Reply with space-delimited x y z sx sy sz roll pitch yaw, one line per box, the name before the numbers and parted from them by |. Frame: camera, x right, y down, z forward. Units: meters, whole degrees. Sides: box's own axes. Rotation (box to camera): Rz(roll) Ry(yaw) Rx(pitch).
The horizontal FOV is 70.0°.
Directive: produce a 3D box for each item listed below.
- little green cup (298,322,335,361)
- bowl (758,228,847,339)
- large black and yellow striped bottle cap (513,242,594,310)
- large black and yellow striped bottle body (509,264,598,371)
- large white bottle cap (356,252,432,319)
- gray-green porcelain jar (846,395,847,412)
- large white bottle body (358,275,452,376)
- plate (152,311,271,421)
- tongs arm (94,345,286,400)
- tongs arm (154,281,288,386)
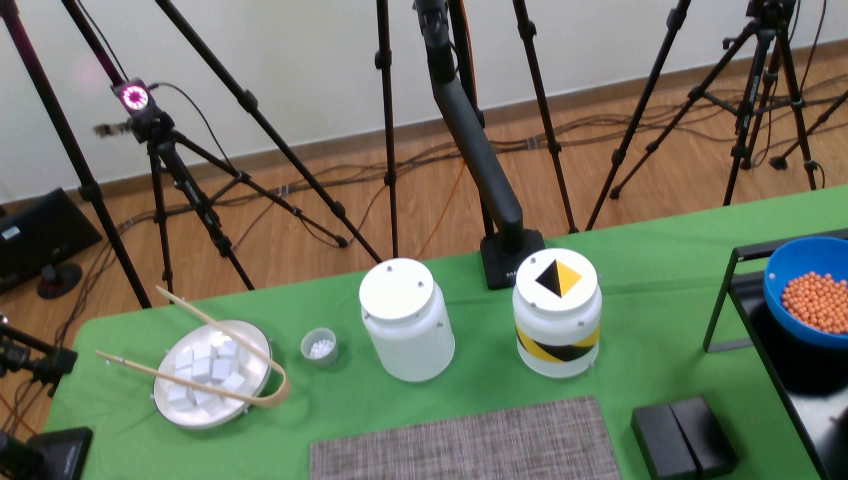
little green cup | -0.184 0.179 1.052 0.061 0.039 0.061 -5 51 7
bowl | 0.482 0.066 0.739 0.151 0.077 0.150 -5 50 7
large black and yellow striped bottle cap | 0.185 0.050 0.873 0.115 0.019 0.114 -5 50 7
large black and yellow striped bottle body | 0.200 0.105 0.936 0.130 0.186 0.129 -6 49 8
large white bottle cap | -0.045 0.067 0.907 0.115 0.018 0.113 -6 50 8
gray-green porcelain jar | 0.508 0.161 0.621 0.106 0.128 0.105 -6 49 7
large white bottle body | -0.031 0.120 0.972 0.130 0.186 0.129 -6 49 8
plate | -0.365 0.221 1.057 0.207 0.039 0.205 -6 50 7
tongs arm | -0.407 0.213 1.030 0.382 0.027 0.050 11 50 23
tongs arm | -0.368 0.154 1.074 0.384 0.028 0.028 24 52 31
